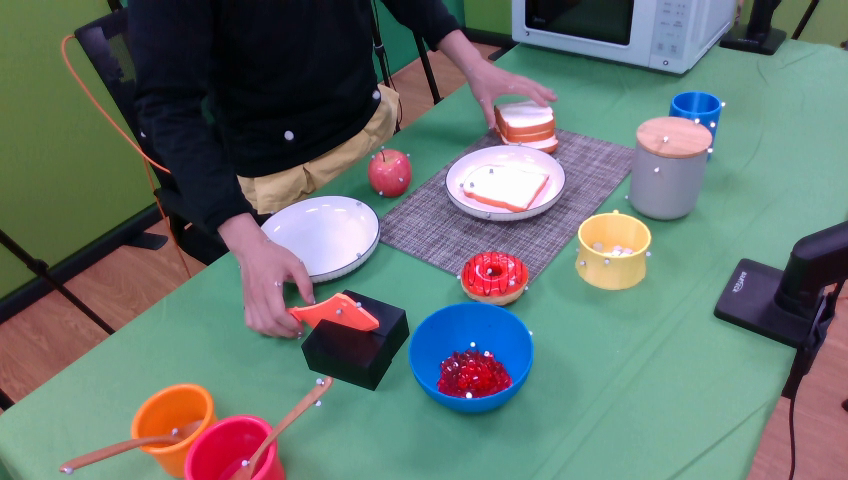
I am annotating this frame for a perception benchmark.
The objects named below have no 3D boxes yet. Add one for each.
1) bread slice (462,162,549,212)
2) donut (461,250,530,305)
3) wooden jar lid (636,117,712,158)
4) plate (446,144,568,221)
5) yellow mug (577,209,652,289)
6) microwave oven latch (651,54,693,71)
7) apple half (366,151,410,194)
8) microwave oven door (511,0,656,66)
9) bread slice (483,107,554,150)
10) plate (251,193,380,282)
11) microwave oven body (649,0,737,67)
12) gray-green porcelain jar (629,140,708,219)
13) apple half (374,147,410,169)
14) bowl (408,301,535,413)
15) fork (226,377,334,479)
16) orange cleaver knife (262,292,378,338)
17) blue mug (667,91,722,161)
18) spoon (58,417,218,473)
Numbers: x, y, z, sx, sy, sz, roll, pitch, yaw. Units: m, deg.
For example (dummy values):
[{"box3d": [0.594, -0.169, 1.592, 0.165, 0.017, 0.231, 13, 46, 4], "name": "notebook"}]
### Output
[{"box3d": [0.135, -0.094, 1.045, 0.133, 0.018, 0.107, 15, 45, 23], "name": "bread slice"}, {"box3d": [0.103, 0.053, 0.872, 0.099, 0.048, 0.098, -4, 40, 4], "name": "donut"}, {"box3d": [0.377, -0.151, 0.917, 0.108, 0.021, 0.108, -2, 42, 3], "name": "wooden jar lid"}, {"box3d": [0.142, -0.096, 1.045, 0.207, 0.039, 0.206, -4, 40, 4], "name": "plate"}, {"box3d": [0.279, 0.004, 0.893, 0.099, 0.064, 0.130, 5, 42, 14], "name": "yellow mug"}, {"box3d": [0.531, -0.386, 1.301, 0.078, 0.029, 0.030, 26, 51, 33], "name": "microwave oven latch"}, {"box3d": [-0.070, -0.114, 1.076, 0.080, 0.075, 0.053, 17, 52, 23], "name": "apple half"}, {"box3d": [0.351, -0.539, 1.349, 0.353, 0.245, 0.039, 24, 50, 31], "name": "microwave oven door"}, {"box3d": [0.186, -0.203, 1.161, 0.105, 0.019, 0.130, -22, 44, -5], "name": "bread slice"}, {"box3d": [-0.174, -0.001, 0.984, 0.209, 0.038, 0.208, -3, 40, 3], "name": "plate"}, {"box3d": [0.475, -0.602, 1.411, 0.438, 0.261, 0.327, 23, 50, 32], "name": "microwave oven body"}, {"box3d": [0.383, -0.105, 0.958, 0.106, 0.127, 0.105, -4, 41, 4], "name": "gray-green porcelain jar"}, {"box3d": [-0.052, -0.139, 1.100, 0.081, 0.081, 0.033, 17, 51, 25], "name": "apple half"}, {"box3d": [0.060, 0.156, 0.739, 0.151, 0.077, 0.150, -4, 40, 4], "name": "bowl"}, {"box3d": [-0.163, 0.216, 0.647, 0.207, 0.019, 0.028, -49, 41, 16], "name": "fork"}, {"box3d": [-0.145, 0.107, 0.821, 0.210, 0.077, 0.012, -13, 35, 43], "name": "orange cleaver knife"}, {"box3d": [0.474, -0.207, 1.079, 0.082, 0.106, 0.116, 4, 42, 13], "name": "blue mug"}, {"box3d": [-0.304, 0.221, 0.661, 0.041, 0.195, 0.021, 19, 92, 27], "name": "spoon"}]
